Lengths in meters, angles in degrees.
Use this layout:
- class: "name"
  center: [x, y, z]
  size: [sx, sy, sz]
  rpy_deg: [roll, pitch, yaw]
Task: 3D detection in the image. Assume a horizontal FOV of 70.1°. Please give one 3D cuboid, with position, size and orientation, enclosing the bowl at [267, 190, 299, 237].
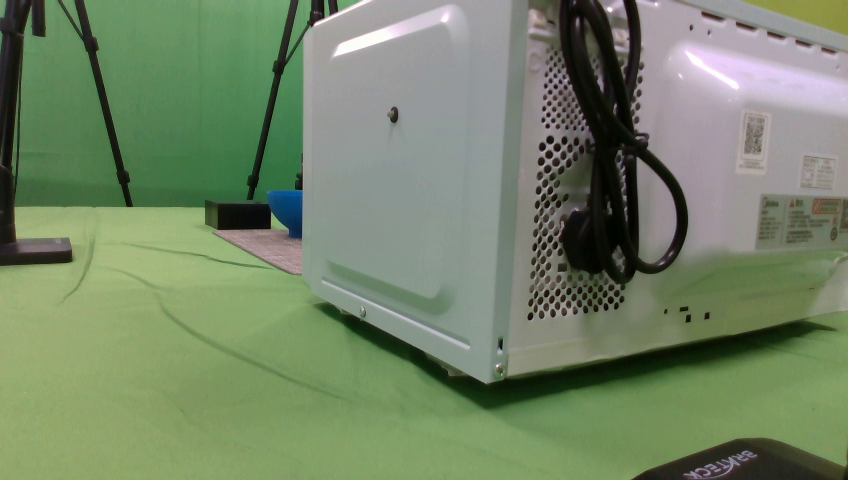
- class: "bowl"
  center: [-0.202, -0.046, 1.069]
  size: [0.151, 0.077, 0.151]
  rpy_deg: [3, 7, 0]

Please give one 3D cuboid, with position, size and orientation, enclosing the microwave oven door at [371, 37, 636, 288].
- class: "microwave oven door"
  center: [0.109, -0.080, 0.687]
  size: [0.358, 0.243, 0.039]
  rpy_deg: [-2, 9, -33]

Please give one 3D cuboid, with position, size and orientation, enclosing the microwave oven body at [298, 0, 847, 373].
- class: "microwave oven body"
  center: [0.151, -0.055, 0.543]
  size: [0.444, 0.260, 0.324]
  rpy_deg: [-1, 7, -33]

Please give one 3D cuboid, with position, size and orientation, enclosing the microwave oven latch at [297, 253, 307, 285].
- class: "microwave oven latch"
  center: [-0.082, 0.027, 0.583]
  size: [0.079, 0.029, 0.030]
  rpy_deg: [-1, 7, -33]
